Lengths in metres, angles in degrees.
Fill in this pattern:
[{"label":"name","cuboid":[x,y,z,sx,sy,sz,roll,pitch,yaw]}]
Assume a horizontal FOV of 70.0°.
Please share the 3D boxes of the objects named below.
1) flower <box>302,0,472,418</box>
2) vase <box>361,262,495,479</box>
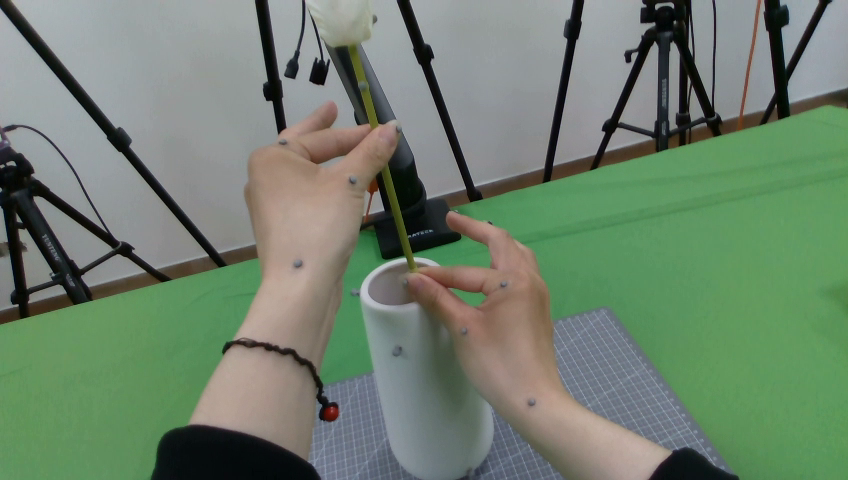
[{"label":"flower","cuboid":[-0.012,-0.011,0.426,0.038,0.364,0.043,-23,25,-13]},{"label":"vase","cuboid":[0.003,0.117,0.522,0.098,0.202,0.097,-10,31,6]}]
